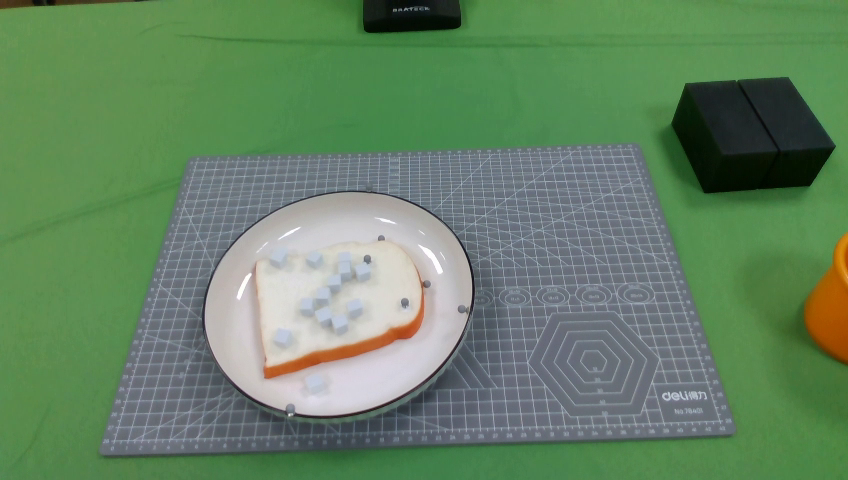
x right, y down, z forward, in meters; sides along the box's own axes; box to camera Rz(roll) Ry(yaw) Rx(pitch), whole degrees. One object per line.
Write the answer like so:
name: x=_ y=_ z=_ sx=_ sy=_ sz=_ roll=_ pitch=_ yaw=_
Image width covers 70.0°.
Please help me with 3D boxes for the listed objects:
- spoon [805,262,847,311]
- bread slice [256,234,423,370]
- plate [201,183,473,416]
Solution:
spoon: x=0.366 y=0.018 z=0.413 sx=0.193 sy=0.022 sz=0.041 roll=-17 pitch=41 yaw=42
bread slice: x=-0.068 y=0.040 z=0.484 sx=0.132 sy=0.019 sz=0.103 roll=-14 pitch=54 yaw=-8
plate: x=-0.066 y=0.043 z=0.478 sx=0.209 sy=0.038 sz=0.207 roll=0 pitch=53 yaw=1
